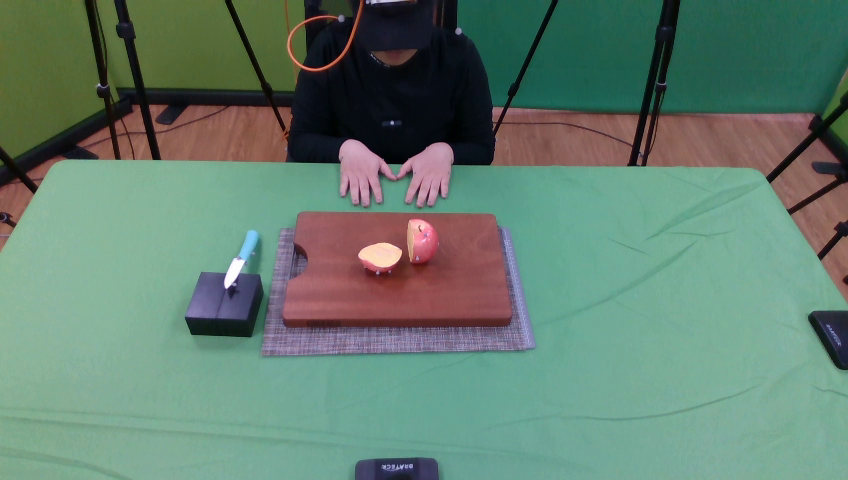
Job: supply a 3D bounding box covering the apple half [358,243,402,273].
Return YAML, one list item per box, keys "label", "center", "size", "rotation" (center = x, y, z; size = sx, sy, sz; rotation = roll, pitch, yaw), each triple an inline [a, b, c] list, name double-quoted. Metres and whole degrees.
- label: "apple half"
  center: [-0.078, 0.038, 1.109]
  size: [0.081, 0.033, 0.081]
  rotation: [1, 30, 0]

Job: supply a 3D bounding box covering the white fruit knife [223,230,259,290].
- label: "white fruit knife"
  center: [-0.333, 0.035, 1.106]
  size: [0.027, 0.016, 0.206]
  rotation: [2, 29, -2]

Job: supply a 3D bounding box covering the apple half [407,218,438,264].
- label: "apple half"
  center: [-0.001, 0.003, 1.120]
  size: [0.053, 0.075, 0.080]
  rotation: [-1, 42, -11]
